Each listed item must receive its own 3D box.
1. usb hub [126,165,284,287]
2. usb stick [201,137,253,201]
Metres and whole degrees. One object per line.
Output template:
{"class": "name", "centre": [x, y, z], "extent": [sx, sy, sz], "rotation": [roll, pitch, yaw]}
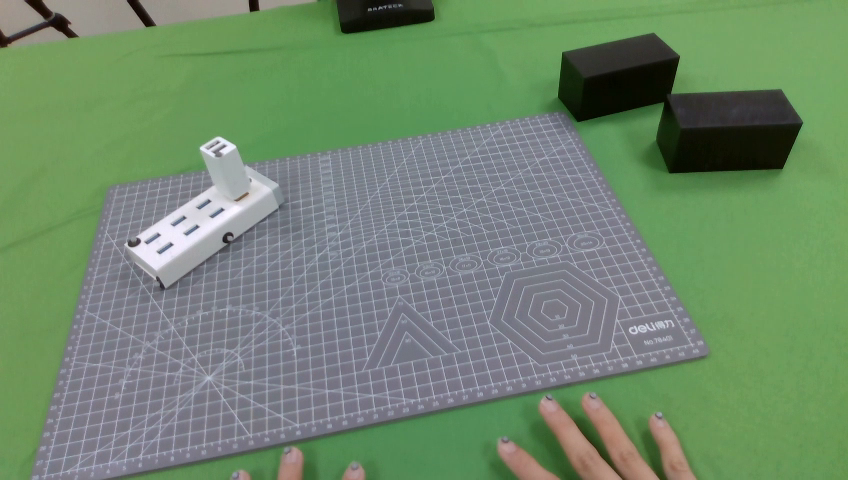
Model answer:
{"class": "usb hub", "centre": [-0.183, -0.015, 0.516], "extent": [0.049, 0.025, 0.125], "rotation": [29, 55, 29]}
{"class": "usb stick", "centre": [-0.162, -0.054, 0.507], "extent": [0.027, 0.060, 0.021], "rotation": [25, 54, 31]}
